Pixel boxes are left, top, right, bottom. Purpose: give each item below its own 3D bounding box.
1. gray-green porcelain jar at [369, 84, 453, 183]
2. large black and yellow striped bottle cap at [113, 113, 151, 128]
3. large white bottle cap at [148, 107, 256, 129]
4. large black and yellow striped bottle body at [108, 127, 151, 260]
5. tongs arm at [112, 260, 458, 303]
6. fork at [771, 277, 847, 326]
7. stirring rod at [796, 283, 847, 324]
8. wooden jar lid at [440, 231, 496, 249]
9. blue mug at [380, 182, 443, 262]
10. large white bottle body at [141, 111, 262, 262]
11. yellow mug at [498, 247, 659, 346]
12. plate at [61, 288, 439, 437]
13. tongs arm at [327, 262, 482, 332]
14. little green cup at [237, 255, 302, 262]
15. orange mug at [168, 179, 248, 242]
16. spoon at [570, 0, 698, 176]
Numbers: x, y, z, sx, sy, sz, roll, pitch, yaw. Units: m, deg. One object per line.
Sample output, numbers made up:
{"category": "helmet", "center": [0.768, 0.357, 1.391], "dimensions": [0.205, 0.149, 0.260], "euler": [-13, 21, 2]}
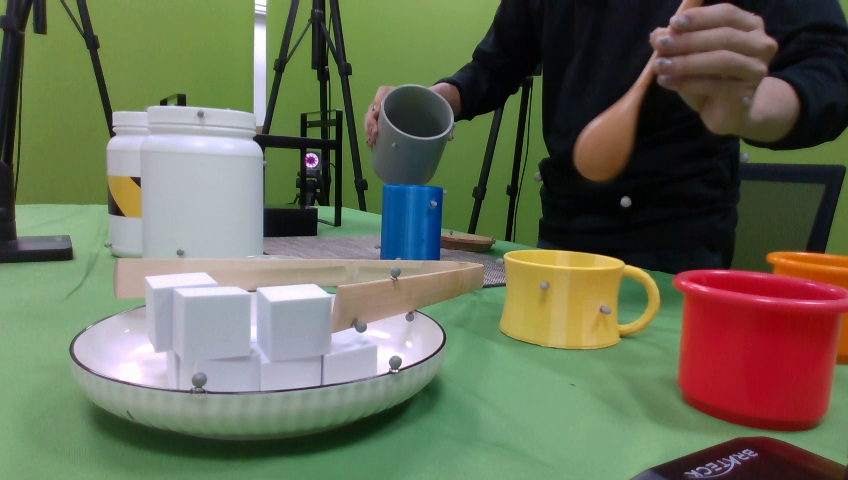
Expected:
{"category": "gray-green porcelain jar", "center": [-0.023, -0.146, 0.889], "dimensions": [0.106, 0.105, 0.126], "euler": [0, -33, -16]}
{"category": "large black and yellow striped bottle cap", "center": [-0.348, -0.154, 0.800], "dimensions": [0.115, 0.019, 0.115], "euler": [2, 6, 0]}
{"category": "large white bottle cap", "center": [-0.250, -0.137, 0.686], "dimensions": [0.115, 0.018, 0.115], "euler": [3, 8, 0]}
{"category": "large black and yellow striped bottle body", "center": [-0.350, -0.071, 0.812], "dimensions": [0.131, 0.184, 0.130], "euler": [2, 7, 0]}
{"category": "tongs arm", "center": [-0.080, 0.031, 0.527], "dimensions": [0.028, 0.027, 0.389], "euler": [-3, -3, 33]}
{"category": "fork", "center": [0.335, 0.018, 0.443], "dimensions": [0.028, 0.018, 0.207], "euler": [-1, -36, -19]}
{"category": "stirring rod", "center": [0.347, 0.019, 0.460], "dimensions": [0.014, 0.176, 0.006], "euler": [-17, 59, -26]}
{"category": "wooden jar lid", "center": [0.066, 0.000, 1.011], "dimensions": [0.108, 0.020, 0.108], "euler": [6, 7, 0]}
{"category": "blue mug", "center": [-0.019, -0.026, 0.833], "dimensions": [0.082, 0.106, 0.116], "euler": [1, 7, -6]}
{"category": "large white bottle body", "center": [-0.254, -0.053, 0.697], "dimensions": [0.131, 0.184, 0.130], "euler": [2, 7, 0]}
{"category": "yellow mug", "center": [0.130, 0.045, 0.508], "dimensions": [0.131, 0.064, 0.100], "euler": [4, 7, 5]}
{"category": "plate", "center": [-0.095, 0.069, 0.362], "dimensions": [0.208, 0.039, 0.207], "euler": [3, 7, 0]}
{"category": "tongs arm", "center": [-0.003, 0.036, 0.493], "dimensions": [0.050, 0.026, 0.386], "euler": [1, 0, 19]}
{"category": "little green cup", "center": [-0.150, 0.038, 0.590], "dimensions": [0.061, 0.038, 0.061], "euler": [3, 6, 0]}
{"category": "orange mug", "center": [-0.351, -0.051, 0.986], "dimensions": [0.126, 0.101, 0.083], "euler": [-4, 8, -9]}
{"category": "spoon", "center": [0.176, -0.138, 0.477], "dimensions": [0.041, 0.193, 0.022], "euler": [33, 10, 18]}
